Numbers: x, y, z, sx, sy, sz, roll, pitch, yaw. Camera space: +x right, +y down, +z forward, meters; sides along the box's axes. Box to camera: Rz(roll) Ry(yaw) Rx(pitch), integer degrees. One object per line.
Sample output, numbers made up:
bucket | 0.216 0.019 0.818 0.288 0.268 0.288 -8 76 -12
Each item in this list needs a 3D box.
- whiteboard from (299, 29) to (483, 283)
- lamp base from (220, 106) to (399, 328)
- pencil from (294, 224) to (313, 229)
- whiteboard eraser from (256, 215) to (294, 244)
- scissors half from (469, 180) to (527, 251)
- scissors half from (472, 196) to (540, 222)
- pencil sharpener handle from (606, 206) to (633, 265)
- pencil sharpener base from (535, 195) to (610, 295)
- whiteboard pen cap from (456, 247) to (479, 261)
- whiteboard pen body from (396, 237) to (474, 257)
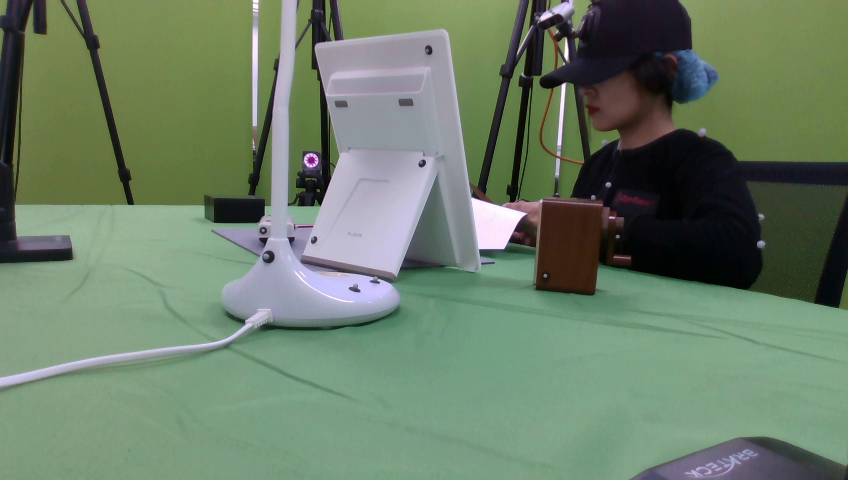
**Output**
whiteboard | -0.074 -0.082 0.742 0.216 0.305 0.144 9 30 38
lamp base | -0.101 -0.023 0.531 0.160 0.180 0.179 4 10 10
pencil | -0.221 -0.028 1.211 0.195 0.012 0.012 -5 10 -34
whiteboard eraser | -0.232 -0.016 0.951 0.056 0.042 0.112 2 7 -12
scissors half | 0.134 -0.047 1.141 0.040 0.175 0.012 -41 12 -13
scissors half | 0.146 -0.068 1.145 0.176 0.040 0.013 11 -7 -19
pencil sharpener handle | 0.223 -0.004 0.683 0.030 0.068 0.036 5 20 17
pencil sharpener base | 0.172 0.005 0.696 0.076 0.107 0.061 5 7 16
whiteboard pen cap | 0.060 0.020 0.851 0.033 0.018 0.018 10 10 37
whiteboard pen body | 0.014 0.012 0.886 0.140 0.017 0.017 9 10 38
